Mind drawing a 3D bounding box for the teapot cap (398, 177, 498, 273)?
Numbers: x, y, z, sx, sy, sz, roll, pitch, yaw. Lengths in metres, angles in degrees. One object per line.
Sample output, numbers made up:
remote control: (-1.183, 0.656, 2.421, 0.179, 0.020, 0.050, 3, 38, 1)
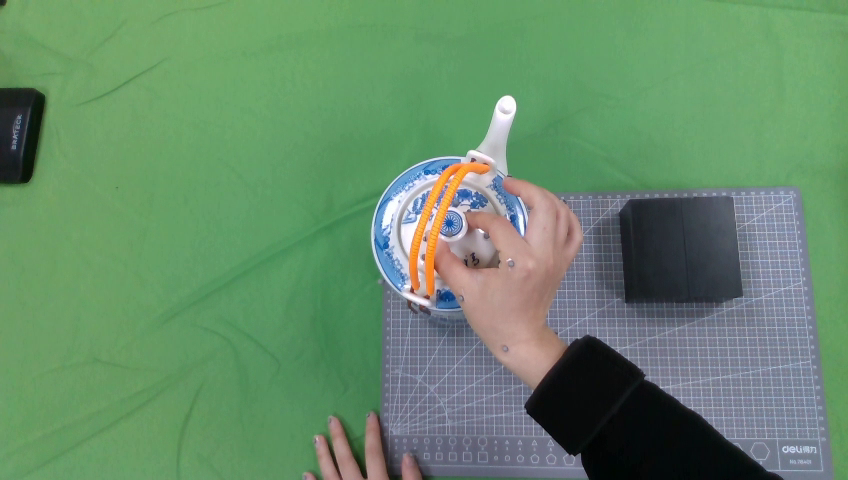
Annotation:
teapot cap: (0.020, -0.014, 0.505, 0.085, 0.044, 0.084, -1, 76, 5)

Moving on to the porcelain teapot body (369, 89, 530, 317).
porcelain teapot body: (0.035, -0.034, 0.563, 0.145, 0.226, 0.205, 22, 81, 10)
